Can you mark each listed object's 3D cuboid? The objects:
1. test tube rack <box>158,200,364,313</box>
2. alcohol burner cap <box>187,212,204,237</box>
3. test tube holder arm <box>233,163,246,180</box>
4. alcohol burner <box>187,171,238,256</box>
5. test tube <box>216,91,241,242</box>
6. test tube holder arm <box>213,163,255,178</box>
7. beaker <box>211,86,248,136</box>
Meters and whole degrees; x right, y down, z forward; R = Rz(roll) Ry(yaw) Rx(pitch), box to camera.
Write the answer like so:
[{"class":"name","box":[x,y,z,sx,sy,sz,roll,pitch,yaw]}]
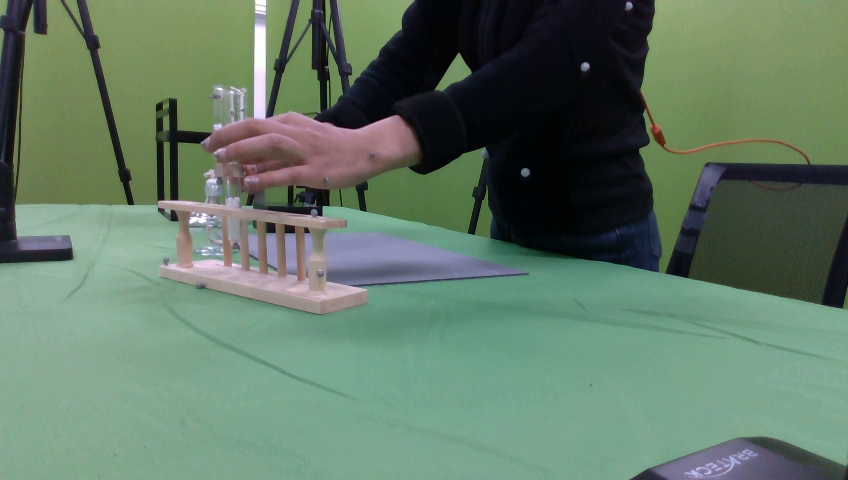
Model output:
[{"class":"test tube rack","box":[-0.174,0.009,0.624,0.241,0.085,0.067,7,9,34]},{"class":"alcohol burner cap","box":[-0.390,-0.029,1.025,0.034,0.048,0.034,2,9,0]},{"class":"test tube holder arm","box":[-0.193,-0.072,0.630,0.010,0.015,0.087,5,7,-21]},{"class":"alcohol burner","box":[-0.297,-0.038,0.850,0.078,0.119,0.078,1,6,0]},{"class":"test tube","box":[-0.194,-0.072,0.605,0.017,0.150,0.017,0,10,0]},{"class":"test tube holder arm","box":[-0.208,-0.078,0.672,0.013,0.015,0.178,8,7,-8]},{"class":"beaker","box":[-0.414,-0.274,1.297,0.074,0.100,0.083,-5,11,-44]}]
